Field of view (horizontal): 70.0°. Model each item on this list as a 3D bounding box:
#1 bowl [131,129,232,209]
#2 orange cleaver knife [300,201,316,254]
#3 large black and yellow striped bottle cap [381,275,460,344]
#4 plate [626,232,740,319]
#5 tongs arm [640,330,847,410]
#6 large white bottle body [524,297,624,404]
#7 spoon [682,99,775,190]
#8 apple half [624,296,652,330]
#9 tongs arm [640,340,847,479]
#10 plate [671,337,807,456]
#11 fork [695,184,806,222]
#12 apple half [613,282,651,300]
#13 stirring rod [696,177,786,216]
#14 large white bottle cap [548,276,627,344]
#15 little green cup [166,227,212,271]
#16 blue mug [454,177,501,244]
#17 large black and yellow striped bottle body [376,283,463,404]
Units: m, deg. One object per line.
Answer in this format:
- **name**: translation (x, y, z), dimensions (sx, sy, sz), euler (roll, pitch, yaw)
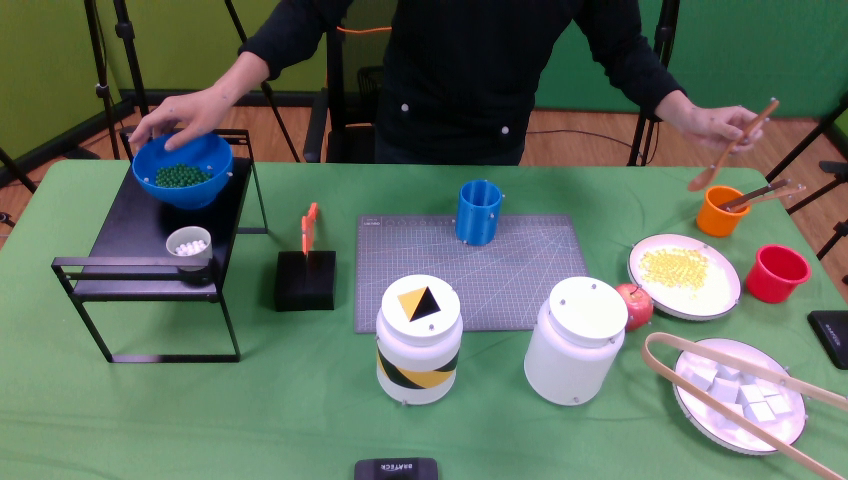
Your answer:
- **bowl**: translation (-0.381, -0.103, 0.978), dimensions (0.151, 0.077, 0.150), euler (2, 46, -2)
- **orange cleaver knife**: translation (-0.221, -0.027, 1.160), dimensions (0.012, 0.077, 0.210), euler (-1, 15, -4)
- **large black and yellow striped bottle cap**: translation (-0.005, 0.098, 0.875), dimensions (0.115, 0.019, 0.114), euler (2, 45, -2)
- **plate**: translation (0.488, 0.071, 1.157), dimensions (0.209, 0.038, 0.208), euler (3, 46, -3)
- **tongs arm**: translation (0.543, 0.225, 0.969), dimensions (0.384, 0.026, 0.050), euler (22, 52, 13)
- **large white bottle body**: translation (0.235, 0.159, 0.952), dimensions (0.131, 0.185, 0.130), euler (2, 47, -2)
- **spoon**: translation (0.498, -0.154, 0.998), dimensions (0.022, 0.194, 0.041), euler (25, 37, -7)
- **apple half**: translation (0.368, 0.135, 1.060), dimensions (0.081, 0.081, 0.032), euler (-11, 43, -14)
- **tongs arm**: translation (0.500, 0.277, 0.919), dimensions (0.386, 0.028, 0.028), euler (34, 59, 22)
- **plate**: translation (0.503, 0.254, 0.984), dimensions (0.208, 0.039, 0.206), euler (2, 46, -2)
- **fork**: translation (0.658, -0.074, 1.229), dimensions (0.207, 0.019, 0.028), euler (-24, 33, 36)
- **apple half**: translation (0.356, 0.109, 1.086), dimensions (0.081, 0.075, 0.053), euler (-13, 45, -12)
- **stirring rod**: translation (0.648, -0.087, 1.244), dimensions (0.176, 0.006, 0.014), euler (-25, 50, 29)
- **large white bottle cap**: translation (0.240, 0.100, 0.890), dimensions (0.115, 0.018, 0.114), euler (3, 47, -3)
- **little green cup**: translation (-0.344, 0.014, 0.895), dimensions (0.061, 0.039, 0.061), euler (3, 46, -3)
- **blue mug**: translation (0.106, -0.067, 1.208), dimensions (0.082, 0.106, 0.116), euler (6, 46, 1)
- **large black and yellow striped bottle body**: translation (-0.010, 0.155, 0.937), dimensions (0.131, 0.185, 0.130), euler (2, 47, -2)
